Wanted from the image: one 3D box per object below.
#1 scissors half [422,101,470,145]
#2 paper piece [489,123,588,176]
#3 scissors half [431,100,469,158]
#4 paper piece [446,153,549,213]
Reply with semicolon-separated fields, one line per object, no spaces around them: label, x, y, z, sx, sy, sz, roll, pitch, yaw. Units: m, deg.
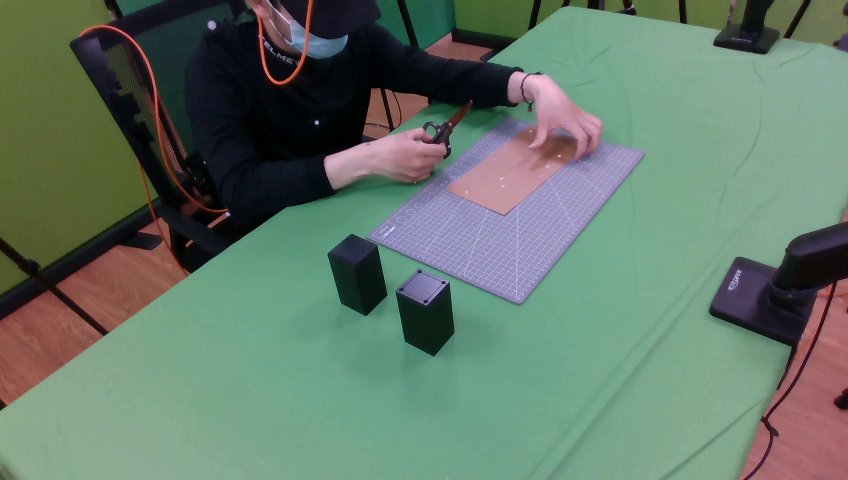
scissors half;0.037;-0.209;1.062;0.013;0.040;0.174;-39;8;-27
paper piece;0.218;-0.176;1.150;0.135;0.009;0.139;31;51;31
scissors half;0.048;-0.193;1.061;0.013;0.175;0.040;-33;78;-27
paper piece;0.130;-0.104;1.079;0.134;0.004;0.136;28;52;33
